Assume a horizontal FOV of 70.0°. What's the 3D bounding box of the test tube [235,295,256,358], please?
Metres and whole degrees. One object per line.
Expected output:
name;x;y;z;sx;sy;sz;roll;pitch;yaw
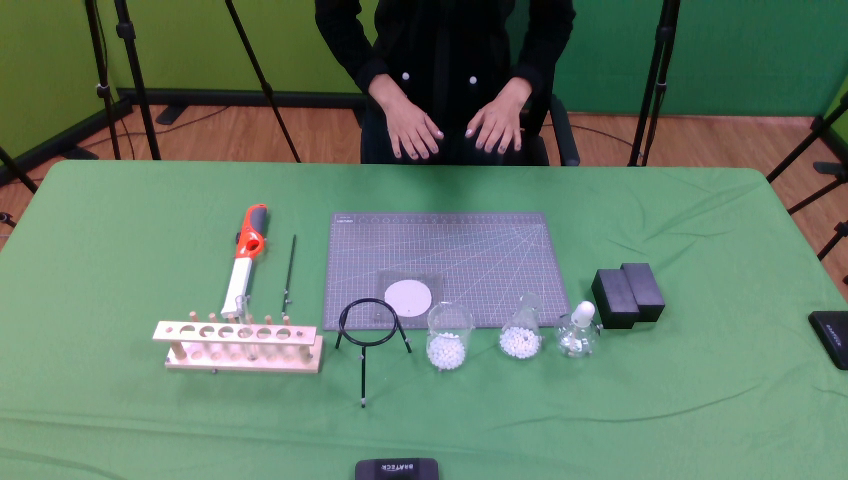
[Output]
test tube;-0.274;0.136;0.933;0.017;0.151;0.017;4;46;-4

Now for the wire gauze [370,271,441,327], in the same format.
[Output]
wire gauze;-0.032;0.103;1.104;0.125;0.011;0.121;4;46;3

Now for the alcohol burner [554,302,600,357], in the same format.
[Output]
alcohol burner;0.260;0.143;1.018;0.078;0.119;0.077;3;45;-3

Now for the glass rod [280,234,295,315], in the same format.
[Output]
glass rod;-0.253;0.060;1.132;0.008;0.008;0.198;0;46;-4

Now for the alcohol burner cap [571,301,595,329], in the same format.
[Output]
alcohol burner cap;0.262;0.120;0.991;0.034;0.048;0.033;2;52;-2

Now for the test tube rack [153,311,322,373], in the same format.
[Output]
test tube rack;-0.293;0.160;0.978;0.242;0.085;0.066;3;46;-2

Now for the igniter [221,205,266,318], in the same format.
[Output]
igniter;-0.338;0.030;1.140;0.057;0.025;0.274;-5;46;3

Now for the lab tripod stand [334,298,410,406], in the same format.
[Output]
lab tripod stand;-0.086;0.164;0.957;0.148;0.132;0.147;3;44;-2

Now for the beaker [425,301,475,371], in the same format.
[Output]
beaker;0.038;0.159;0.996;0.074;0.101;0.083;-13;48;-17

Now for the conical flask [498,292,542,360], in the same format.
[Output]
conical flask;0.167;0.139;1.010;0.075;0.122;0.075;2;46;-2
